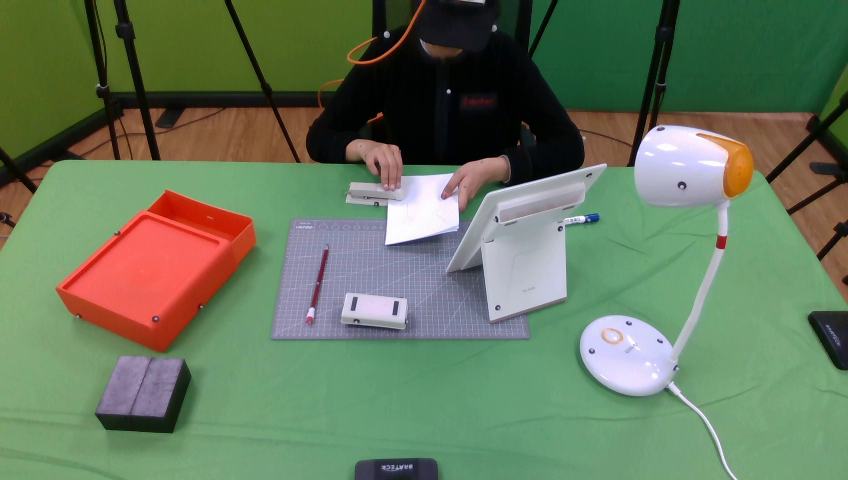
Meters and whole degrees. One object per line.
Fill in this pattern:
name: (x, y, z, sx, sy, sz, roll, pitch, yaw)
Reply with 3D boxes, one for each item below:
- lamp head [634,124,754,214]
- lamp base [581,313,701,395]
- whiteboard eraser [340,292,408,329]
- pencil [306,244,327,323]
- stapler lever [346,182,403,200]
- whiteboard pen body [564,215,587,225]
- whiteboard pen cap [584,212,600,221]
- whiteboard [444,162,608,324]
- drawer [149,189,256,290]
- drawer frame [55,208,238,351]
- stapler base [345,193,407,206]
lamp head: (0.351, -0.089, 0.776, 0.112, 0.113, 0.122, -30, 30, -28)
lamp base: (0.361, 0.144, 0.973, 0.178, 0.181, 0.160, 34, 53, 23)
whiteboard eraser: (-0.087, 0.125, 1.052, 0.113, 0.042, 0.055, 5, 45, 1)
pencil: (-0.196, 0.076, 1.116, 0.012, 0.012, 0.193, 4, 44, 0)
stapler lever: (-0.101, -0.105, 1.271, 0.118, 0.040, 0.026, 11, 43, -7)
whiteboard pen body: (0.291, -0.040, 1.261, 0.141, 0.017, 0.017, -6, 47, -11)
whiteboard pen cap: (0.351, -0.048, 1.271, 0.033, 0.018, 0.018, -6, 47, -11)
whiteboard: (0.186, 0.026, 1.028, 0.217, 0.306, 0.143, -14, 68, -17)
drawer: (-0.449, 0.019, 1.106, 0.194, 0.073, 0.211, 19, 48, 12)
drawer frame: (-0.474, 0.062, 1.059, 0.201, 0.083, 0.213, 19, 48, 13)
stapler base: (-0.101, -0.095, 1.282, 0.130, 0.024, 0.041, 3, 43, 1)
